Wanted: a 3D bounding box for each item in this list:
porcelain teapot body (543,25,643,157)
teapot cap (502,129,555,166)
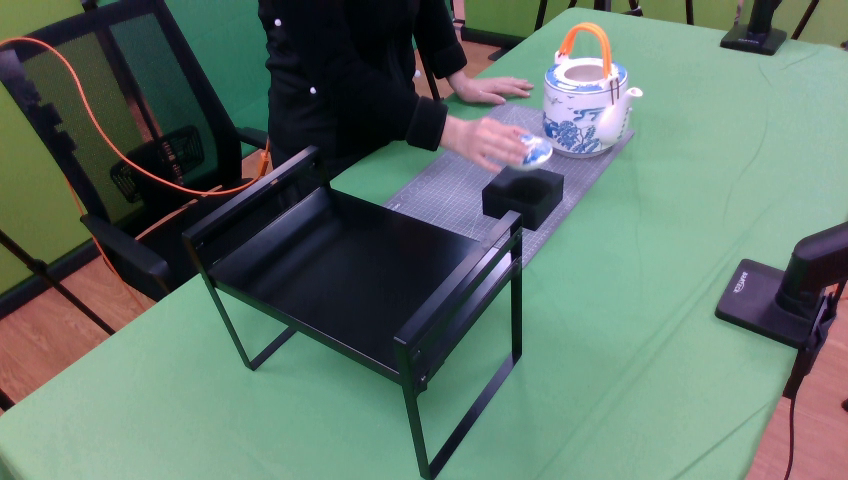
[{"bbox_3d":[0.306,-0.258,1.070,0.146,0.226,0.203,-26,45,-20],"label":"porcelain teapot body"},{"bbox_3d":[0.168,-0.155,0.975,0.085,0.044,0.084,-1,44,2],"label":"teapot cap"}]
